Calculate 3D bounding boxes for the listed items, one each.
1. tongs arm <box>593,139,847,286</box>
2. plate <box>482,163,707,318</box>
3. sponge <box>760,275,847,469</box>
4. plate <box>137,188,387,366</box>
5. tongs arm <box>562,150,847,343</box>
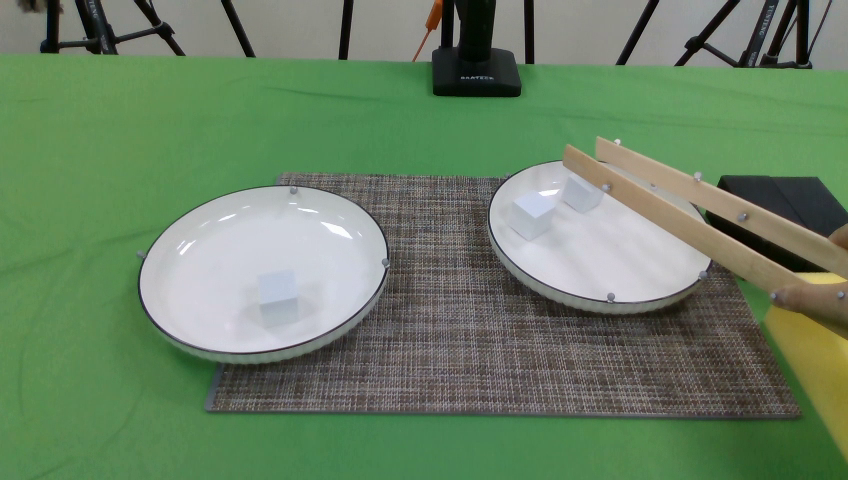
[{"bbox_3d":[0.262,0.001,0.473,0.051,0.027,0.380,-23,39,-27],"label":"tongs arm"},{"bbox_3d":[0.158,0.000,0.580,0.208,0.039,0.205,2,42,-1],"label":"plate"},{"bbox_3d":[0.361,0.118,0.447,0.118,0.061,0.204,-2,43,-4],"label":"sponge"},{"bbox_3d":[-0.136,0.030,0.531,0.209,0.038,0.207,2,42,-1],"label":"plate"},{"bbox_3d":[0.239,0.010,0.463,0.028,0.028,0.383,-18,37,-26],"label":"tongs arm"}]
